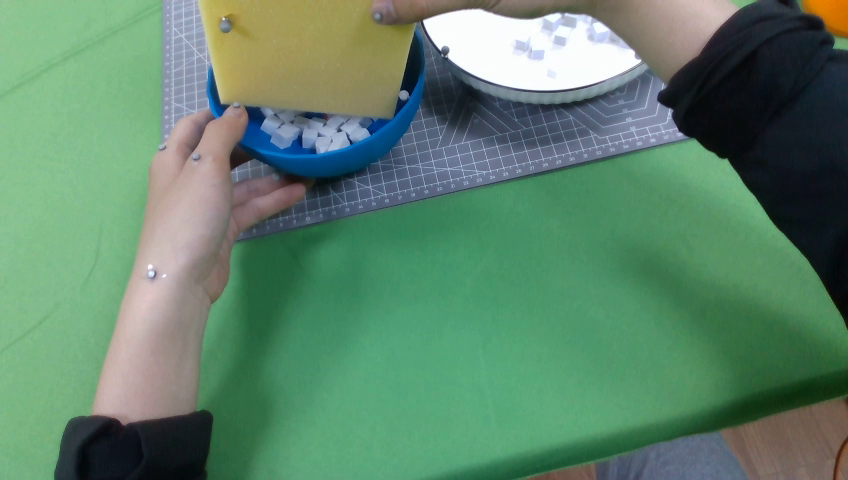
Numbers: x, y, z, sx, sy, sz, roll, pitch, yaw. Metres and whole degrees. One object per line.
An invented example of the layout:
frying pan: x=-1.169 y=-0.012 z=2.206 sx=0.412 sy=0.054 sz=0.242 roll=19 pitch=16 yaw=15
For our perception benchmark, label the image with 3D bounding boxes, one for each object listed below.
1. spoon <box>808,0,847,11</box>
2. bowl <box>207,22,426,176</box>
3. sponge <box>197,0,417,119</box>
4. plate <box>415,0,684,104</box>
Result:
spoon: x=0.367 y=-0.232 z=0.419 sx=0.022 sy=0.194 sz=0.041 roll=3 pitch=59 yaw=-42
bowl: x=-0.070 y=-0.101 z=0.443 sx=0.151 sy=0.077 sz=0.150 roll=-2 pitch=64 yaw=5
sponge: x=-0.063 y=-0.154 z=0.336 sx=0.118 sy=0.208 sz=0.060 roll=2 pitch=68 yaw=-9
plate: x=0.097 y=-0.190 z=0.489 sx=0.209 sy=0.038 sz=0.207 roll=-3 pitch=65 yaw=6
